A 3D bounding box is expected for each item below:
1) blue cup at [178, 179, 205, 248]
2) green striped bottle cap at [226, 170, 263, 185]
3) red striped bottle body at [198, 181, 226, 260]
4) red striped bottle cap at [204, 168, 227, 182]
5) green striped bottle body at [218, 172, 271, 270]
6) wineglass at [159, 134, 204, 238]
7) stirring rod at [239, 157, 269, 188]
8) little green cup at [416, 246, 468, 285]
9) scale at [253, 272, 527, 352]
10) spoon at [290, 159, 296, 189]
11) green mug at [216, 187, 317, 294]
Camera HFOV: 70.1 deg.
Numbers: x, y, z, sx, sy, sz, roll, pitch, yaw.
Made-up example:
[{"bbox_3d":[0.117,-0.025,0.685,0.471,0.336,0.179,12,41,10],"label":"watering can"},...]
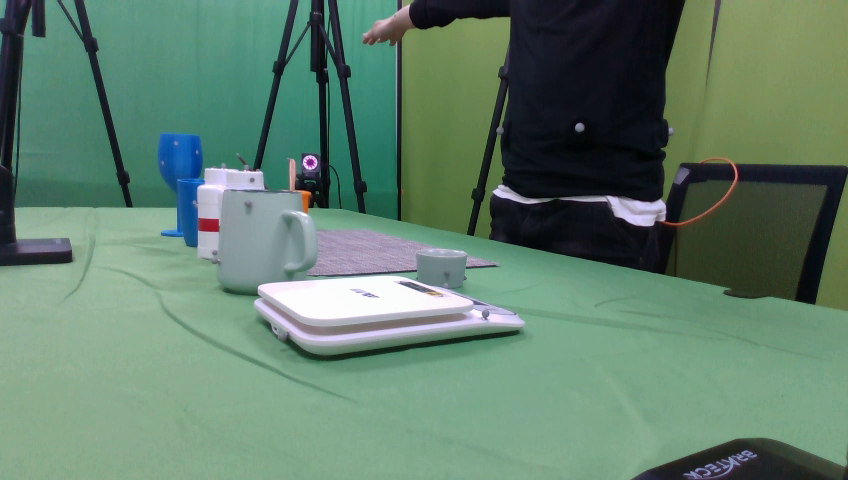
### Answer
[{"bbox_3d":[-0.335,-0.041,0.936,0.093,0.100,0.092,3,9,0],"label":"blue cup"},{"bbox_3d":[-0.222,-0.077,0.748,0.044,0.020,0.044,1,7,0],"label":"green striped bottle cap"},{"bbox_3d":[-0.275,-0.035,0.827,0.063,0.119,0.063,1,6,0],"label":"red striped bottle body"},{"bbox_3d":[-0.275,-0.088,0.821,0.044,0.017,0.044,4,6,0],"label":"red striped bottle cap"},{"bbox_3d":[-0.223,-0.025,0.755,0.063,0.119,0.063,1,7,0],"label":"green striped bottle body"},{"bbox_3d":[-0.415,-0.093,1.040,0.074,0.172,0.073,2,7,0],"label":"wineglass"},{"bbox_3d":[-0.309,-0.098,1.209,0.006,0.177,0.014,-39,29,-4],"label":"stirring rod"},{"bbox_3d":[0.021,0.029,0.702,0.061,0.038,0.061,0,6,0],"label":"little green cup"},{"bbox_3d":[-0.029,0.054,0.512,0.202,0.031,0.148,-2,8,-31],"label":"scale"},{"bbox_3d":[-0.273,-0.102,1.252,0.042,0.193,0.021,7,-38,-17],"label":"spoon"},{"bbox_3d":[-0.157,0.000,0.629,0.124,0.105,0.093,7,9,37],"label":"green mug"}]
